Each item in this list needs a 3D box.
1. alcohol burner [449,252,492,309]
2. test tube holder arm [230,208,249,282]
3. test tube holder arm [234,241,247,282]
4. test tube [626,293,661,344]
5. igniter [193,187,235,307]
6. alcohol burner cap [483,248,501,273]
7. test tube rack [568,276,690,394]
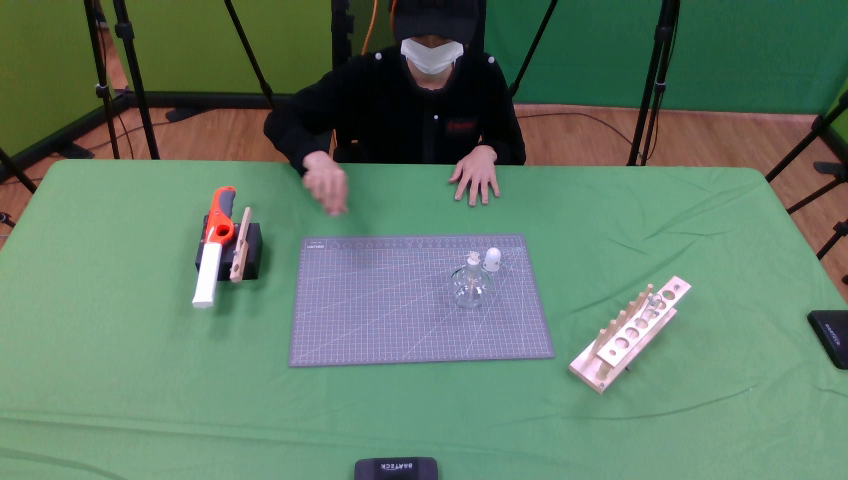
[{"bbox_3d":[0.083,0.066,1.074,0.078,0.120,0.077,1,44,-1],"label":"alcohol burner"},{"bbox_3d":[-0.334,0.006,1.102,0.013,0.015,0.177,-7,46,-2],"label":"test tube holder arm"},{"bbox_3d":[-0.324,0.037,1.072,0.010,0.015,0.087,-6,46,-1],"label":"test tube holder arm"},{"bbox_3d":[0.355,0.133,0.984,0.017,0.151,0.017,1,52,0],"label":"test tube"},{"bbox_3d":[-0.379,0.003,1.096,0.057,0.025,0.274,-1,49,-6],"label":"igniter"},{"bbox_3d":[0.130,0.037,1.156,0.034,0.048,0.033,1,46,-1],"label":"alcohol burner cap"},{"bbox_3d":[0.353,0.149,1.039,0.242,0.085,0.066,-34,56,-31],"label":"test tube rack"}]
